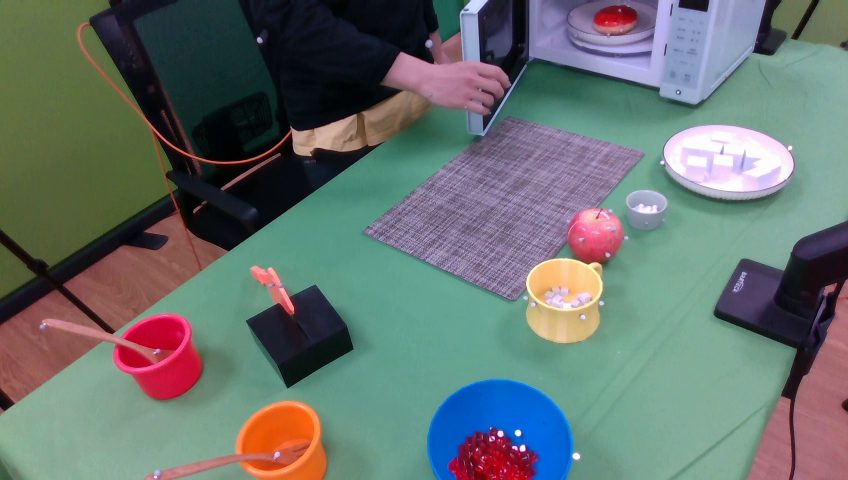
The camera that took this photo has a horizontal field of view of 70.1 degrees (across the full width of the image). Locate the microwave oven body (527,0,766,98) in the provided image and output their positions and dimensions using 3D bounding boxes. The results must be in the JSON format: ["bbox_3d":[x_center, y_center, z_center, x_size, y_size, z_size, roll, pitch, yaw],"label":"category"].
[{"bbox_3d":[0.472,-0.513,1.317,0.438,0.261,0.327,25,51,34],"label":"microwave oven body"}]

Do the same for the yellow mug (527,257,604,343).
[{"bbox_3d":[0.201,0.072,0.825,0.131,0.064,0.099,-32,47,-27],"label":"yellow mug"}]

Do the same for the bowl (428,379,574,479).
[{"bbox_3d":[0.082,0.233,0.644,0.151,0.077,0.150,-4,39,4],"label":"bowl"}]

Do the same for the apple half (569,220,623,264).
[{"bbox_3d":[0.251,0.010,0.884,0.081,0.081,0.032,3,37,12],"label":"apple half"}]

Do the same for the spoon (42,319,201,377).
[{"bbox_3d":[-0.385,0.135,0.779,0.195,0.021,0.041,28,36,-26],"label":"spoon"}]

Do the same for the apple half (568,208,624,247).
[{"bbox_3d":[0.259,-0.014,0.914,0.080,0.075,0.053,0,36,15],"label":"apple half"}]

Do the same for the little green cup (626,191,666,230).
[{"bbox_3d":[0.352,-0.046,0.963,0.061,0.039,0.061,-4,40,4],"label":"little green cup"}]

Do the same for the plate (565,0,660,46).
[{"bbox_3d":[0.427,-0.489,1.376,0.209,0.038,0.208,-5,40,4],"label":"plate"}]

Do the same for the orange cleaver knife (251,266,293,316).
[{"bbox_3d":[-0.221,0.071,0.873,0.012,0.077,0.210,-25,11,-21],"label":"orange cleaver knife"}]

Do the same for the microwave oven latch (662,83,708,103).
[{"bbox_3d":[0.517,-0.296,1.204,0.078,0.029,0.030,27,52,35],"label":"microwave oven latch"}]

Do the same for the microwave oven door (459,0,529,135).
[{"bbox_3d":[0.153,-0.410,1.237,0.039,0.245,0.356,11,43,20],"label":"microwave oven door"}]

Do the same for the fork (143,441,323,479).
[{"bbox_3d":[-0.189,0.231,0.631,0.028,0.018,0.209,35,13,37],"label":"fork"}]

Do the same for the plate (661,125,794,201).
[{"bbox_3d":[0.513,-0.128,1.035,0.207,0.039,0.206,-4,40,4],"label":"plate"}]

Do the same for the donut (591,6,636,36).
[{"bbox_3d":[0.427,-0.496,1.366,0.099,0.048,0.098,-6,40,5],"label":"donut"}]
